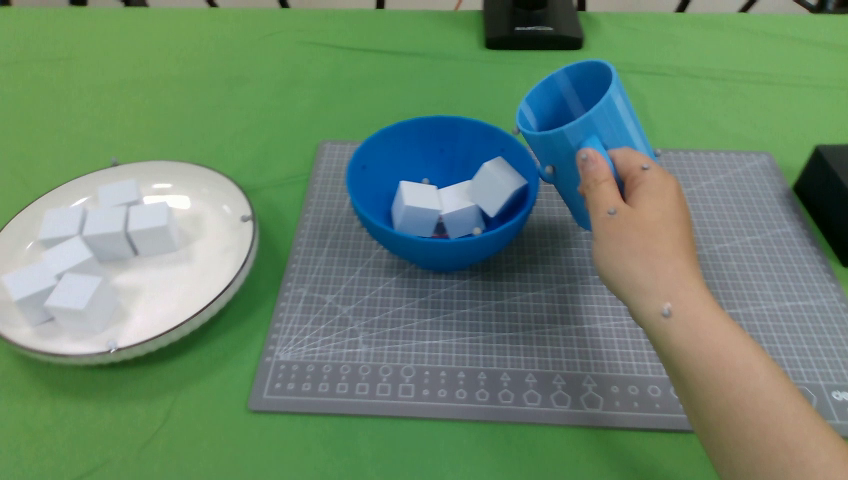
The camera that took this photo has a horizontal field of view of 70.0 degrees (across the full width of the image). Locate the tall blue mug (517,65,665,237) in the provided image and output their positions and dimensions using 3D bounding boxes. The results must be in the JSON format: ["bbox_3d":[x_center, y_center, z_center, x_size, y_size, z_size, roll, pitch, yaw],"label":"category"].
[{"bbox_3d":[0.135,-0.059,0.447,0.078,0.109,0.106,-44,35,-6],"label":"tall blue mug"}]

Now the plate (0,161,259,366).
[{"bbox_3d":[-0.236,0.016,0.486,0.209,0.038,0.207,1,47,0],"label":"plate"}]

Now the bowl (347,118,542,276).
[{"bbox_3d":[0.016,-0.024,0.493,0.151,0.077,0.150,0,47,0],"label":"bowl"}]
